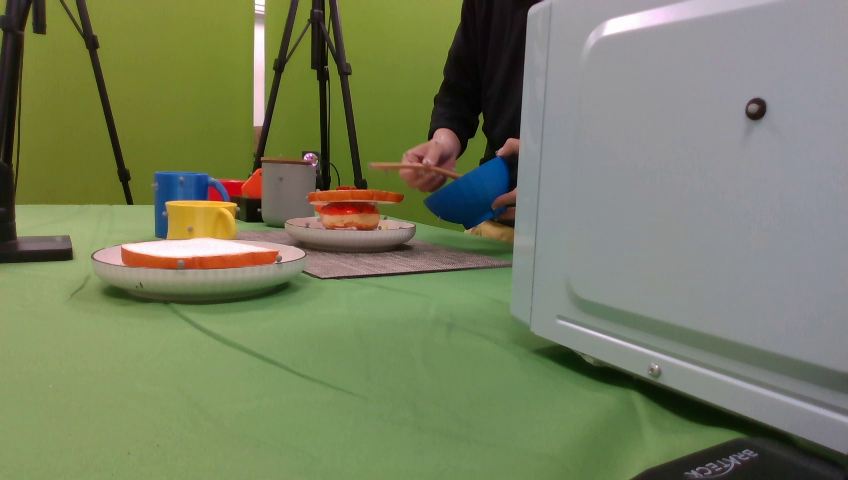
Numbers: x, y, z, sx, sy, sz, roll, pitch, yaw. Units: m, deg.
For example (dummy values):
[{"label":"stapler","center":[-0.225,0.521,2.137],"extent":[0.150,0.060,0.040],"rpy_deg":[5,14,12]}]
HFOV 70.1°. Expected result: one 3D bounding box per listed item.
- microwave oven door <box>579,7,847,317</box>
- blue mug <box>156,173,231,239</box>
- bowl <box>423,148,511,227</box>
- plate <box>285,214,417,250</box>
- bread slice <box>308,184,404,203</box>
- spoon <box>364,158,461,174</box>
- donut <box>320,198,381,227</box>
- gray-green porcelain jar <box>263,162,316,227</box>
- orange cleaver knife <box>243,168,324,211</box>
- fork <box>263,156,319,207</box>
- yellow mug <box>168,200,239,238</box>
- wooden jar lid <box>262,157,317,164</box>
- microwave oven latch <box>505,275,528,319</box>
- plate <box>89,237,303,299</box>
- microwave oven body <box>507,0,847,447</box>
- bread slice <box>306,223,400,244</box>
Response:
[{"label":"microwave oven door","center":[0.295,-0.067,0.570],"extent":[0.358,0.243,0.039],"rpy_deg":[-3,9,-31]},{"label":"blue mug","center":[-0.381,-0.057,1.004],"extent":[0.117,0.106,0.082],"rpy_deg":[0,8,-12]},{"label":"bowl","center":[0.082,-0.073,0.957],"extent":[0.151,0.077,0.151],"rpy_deg":[-31,0,0]},{"label":"plate","center":[-0.116,-0.014,0.964],"extent":[0.209,0.038,0.209],"rpy_deg":[2,8,0]},{"label":"bread slice","center":[-0.114,-0.072,0.954],"extent":[0.134,0.018,0.107],"rpy_deg":[-3,-1,21]},{"label":"spoon","center":[0.004,-0.117,0.939],"extent":[0.194,0.021,0.041],"rpy_deg":[7,10,-5]},{"label":"donut","center":[-0.117,-0.042,0.965],"extent":[0.099,0.048,0.099],"rpy_deg":[-9,-7,-1]},{"label":"gray-green porcelain jar","center":[-0.271,-0.092,1.217],"extent":[0.106,0.126,0.106],"rpy_deg":[2,7,0]},{"label":"orange cleaver knife","center":[-0.300,-0.089,1.351],"extent":[0.212,0.077,0.012],"rpy_deg":[28,-9,-34]},{"label":"fork","center":[-0.331,-0.144,1.505],"extent":[0.207,0.018,0.028],"rpy_deg":[-42,-20,22]},{"label":"yellow mug","center":[-0.320,-0.023,0.904],"extent":[0.130,0.064,0.100],"rpy_deg":[9,11,36]},{"label":"wooden jar lid","center":[-0.269,-0.154,1.208],"extent":[0.108,0.020,0.108],"rpy_deg":[3,4,0]},{"label":"microwave oven latch","center":[0.100,0.042,0.470],"extent":[0.079,0.029,0.030],"rpy_deg":[-1,7,-28]},{"label":"plate","center":[-0.233,0.029,0.636],"extent":[0.208,0.039,0.207],"rpy_deg":[2,7,0]},{"label":"microwave oven body","center":[0.331,-0.042,0.425],"extent":[0.444,0.260,0.324],"rpy_deg":[-2,8,-31]},{"label":"bread slice","center":[-0.104,-0.011,0.962],"extent":[0.131,0.019,0.105],"rpy_deg":[5,9,24]}]
